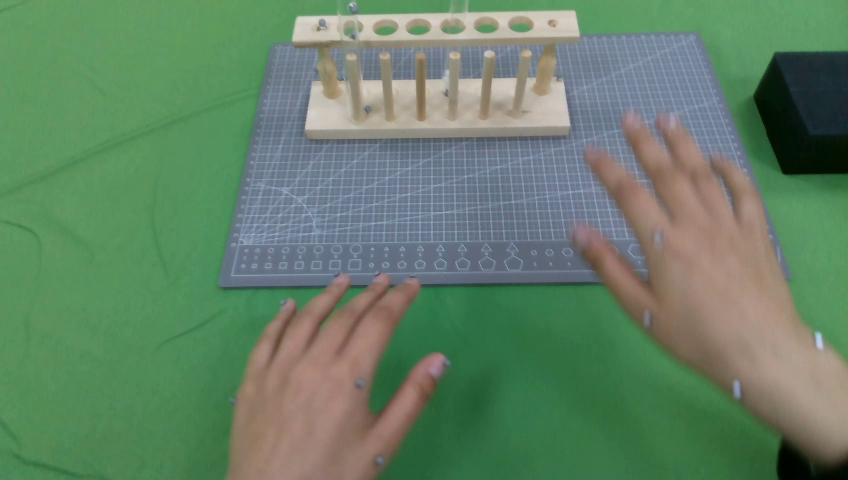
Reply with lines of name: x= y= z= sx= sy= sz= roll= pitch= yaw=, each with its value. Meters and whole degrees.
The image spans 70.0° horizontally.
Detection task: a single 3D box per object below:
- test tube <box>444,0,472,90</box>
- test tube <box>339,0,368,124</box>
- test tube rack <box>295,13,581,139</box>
test tube: x=0.031 y=-0.189 z=0.513 sx=0.017 sy=0.151 sz=0.017 roll=2 pitch=53 yaw=-3
test tube: x=-0.058 y=-0.155 z=0.500 sx=0.017 sy=0.152 sz=0.017 roll=1 pitch=55 yaw=-1
test tube rack: x=0.012 y=-0.146 z=0.545 sx=0.242 sy=0.086 sz=0.066 roll=0 pitch=56 yaw=2
